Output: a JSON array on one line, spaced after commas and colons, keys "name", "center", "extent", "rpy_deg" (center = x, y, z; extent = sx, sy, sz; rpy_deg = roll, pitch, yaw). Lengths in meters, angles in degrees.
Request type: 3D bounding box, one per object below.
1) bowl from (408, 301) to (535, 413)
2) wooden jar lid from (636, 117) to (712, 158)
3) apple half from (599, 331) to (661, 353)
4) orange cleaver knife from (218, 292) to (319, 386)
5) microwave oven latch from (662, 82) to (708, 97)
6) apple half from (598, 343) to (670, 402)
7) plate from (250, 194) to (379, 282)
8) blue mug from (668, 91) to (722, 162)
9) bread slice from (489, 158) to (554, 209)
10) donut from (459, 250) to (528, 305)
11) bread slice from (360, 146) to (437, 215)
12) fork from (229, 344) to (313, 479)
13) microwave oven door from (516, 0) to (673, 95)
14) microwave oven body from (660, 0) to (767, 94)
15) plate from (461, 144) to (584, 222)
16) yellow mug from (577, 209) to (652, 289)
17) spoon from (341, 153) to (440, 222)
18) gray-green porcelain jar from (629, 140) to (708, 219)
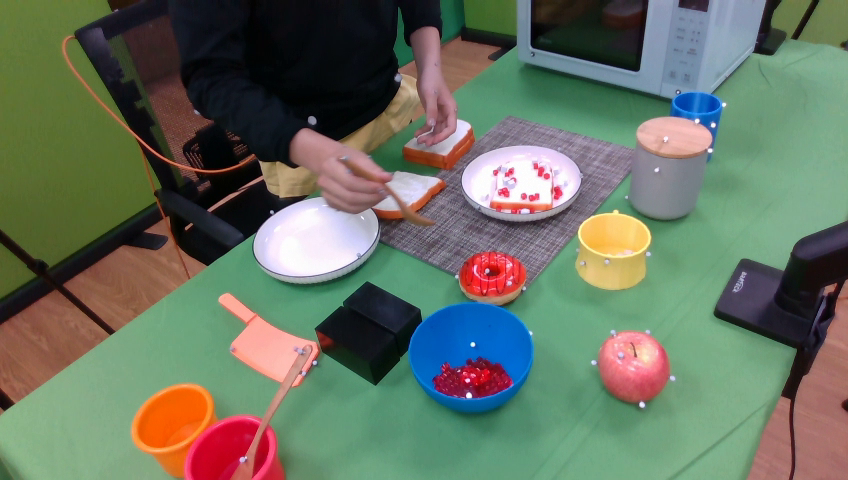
[{"name": "bowl", "center": [0.060, 0.156, 0.739], "extent": [0.151, 0.077, 0.150], "rpy_deg": [-4, 40, 4]}, {"name": "wooden jar lid", "center": [0.377, -0.151, 0.917], "extent": [0.108, 0.021, 0.108], "rpy_deg": [-2, 41, 2]}, {"name": "apple half", "center": [0.249, 0.134, 0.738], "extent": [0.081, 0.081, 0.032], "rpy_deg": [-1, 46, 7]}, {"name": "orange cleaver knife", "center": [-0.235, 0.136, 0.850], "extent": [0.209, 0.012, 0.077], "rpy_deg": [25, 56, 30]}, {"name": "microwave oven latch", "center": [0.518, -0.298, 1.203], "extent": [0.078, 0.029, 0.030], "rpy_deg": [28, 53, 35]}, {"name": "apple half", "center": [0.247, 0.161, 0.710], "extent": [0.081, 0.075, 0.053], "rpy_deg": [2, 47, 5]}, {"name": "plate", "center": [-0.174, 0.000, 0.984], "extent": [0.209, 0.038, 0.208], "rpy_deg": [-3, 40, 3]}, {"name": "blue mug", "center": [0.474, -0.207, 1.078], "extent": [0.082, 0.106, 0.116], "rpy_deg": [4, 42, 13]}, {"name": "bread slice", "center": [0.172, -0.100, 1.046], "extent": [0.104, 0.019, 0.131], "rpy_deg": [3, 41, 12]}, {"name": "donut", "center": [0.100, 0.053, 0.873], "extent": [0.099, 0.048, 0.098], "rpy_deg": [-5, 40, 4]}, {"name": "bread slice", "center": [-0.053, -0.103, 1.047], "extent": [0.106, 0.018, 0.134], "rpy_deg": [17, 65, 23]}, {"name": "fork", "center": [-0.173, 0.205, 0.662], "extent": [0.028, 0.019, 0.207], "rpy_deg": [29, 94, 36]}, {"name": "microwave oven door", "center": [0.344, -0.458, 1.257], "extent": [0.353, 0.245, 0.039], "rpy_deg": [26, 52, 33]}, {"name": "microwave oven body", "center": [0.474, -0.517, 1.313], "extent": [0.438, 0.261, 0.327], "rpy_deg": [26, 51, 34]}, {"name": "plate", "center": [0.168, -0.095, 1.040], "extent": [0.207, 0.039, 0.206], "rpy_deg": [-4, 40, 4]}, {"name": "yellow mug", "center": [0.279, 0.004, 0.893], "extent": [0.099, 0.064, 0.130], "rpy_deg": [5, 41, 15]}, {"name": "spoon", "center": [-0.041, -0.066, 0.788], "extent": [0.041, 0.195, 0.021], "rpy_deg": [17, 76, 43]}, {"name": "gray-green porcelain jar", "center": [0.383, -0.105, 0.958], "extent": [0.106, 0.127, 0.105], "rpy_deg": [-4, 41, 4]}]
